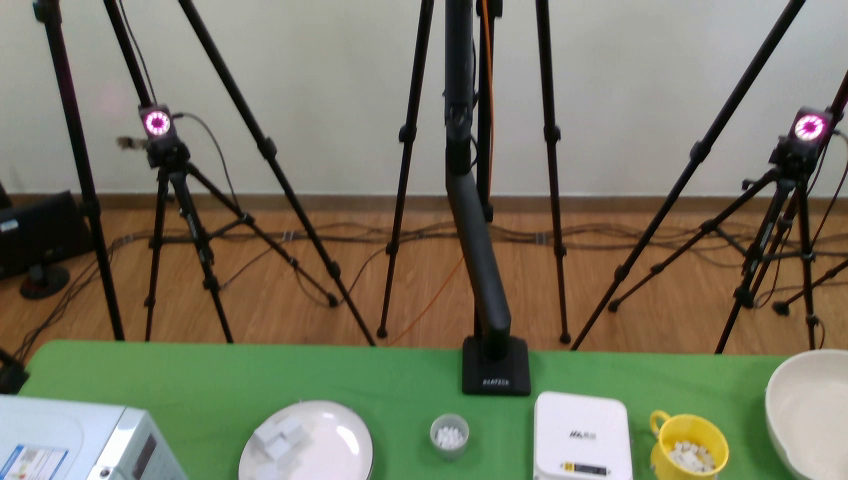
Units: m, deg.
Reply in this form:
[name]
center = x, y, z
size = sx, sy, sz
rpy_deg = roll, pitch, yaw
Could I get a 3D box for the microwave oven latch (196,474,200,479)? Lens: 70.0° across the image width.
[microwave oven latch]
center = -0.351, 0.382, 0.880
size = 0.030, 0.030, 0.078
rpy_deg = 5, 44, 7

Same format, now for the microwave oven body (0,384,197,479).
[microwave oven body]
center = -0.523, 0.422, 0.700
size = 0.326, 0.262, 0.437
rpy_deg = 4, 44, 6

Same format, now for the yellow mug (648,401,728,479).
[yellow mug]
center = 0.396, 0.304, 0.937
size = 0.100, 0.064, 0.129
rpy_deg = -22, 45, -19

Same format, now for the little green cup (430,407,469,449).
[little green cup]
center = 0.042, 0.304, 0.974
size = 0.061, 0.039, 0.061
rpy_deg = -1, 42, 2

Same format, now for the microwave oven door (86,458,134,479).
[microwave oven door]
center = -0.383, 0.454, 0.651
size = 0.039, 0.246, 0.352
rpy_deg = 3, 43, 6

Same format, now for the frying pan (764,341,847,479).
[frying pan]
center = 0.713, 0.342, 0.853
size = 0.307, 0.103, 0.482
rpy_deg = -18, 37, -15

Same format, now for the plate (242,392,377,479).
[plate]
center = -0.176, 0.336, 0.950
size = 0.208, 0.039, 0.205
rpy_deg = -1, 42, 1

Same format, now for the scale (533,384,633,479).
[scale]
center = 0.248, 0.322, 0.951
size = 0.148, 0.032, 0.199
rpy_deg = 4, 43, 8
